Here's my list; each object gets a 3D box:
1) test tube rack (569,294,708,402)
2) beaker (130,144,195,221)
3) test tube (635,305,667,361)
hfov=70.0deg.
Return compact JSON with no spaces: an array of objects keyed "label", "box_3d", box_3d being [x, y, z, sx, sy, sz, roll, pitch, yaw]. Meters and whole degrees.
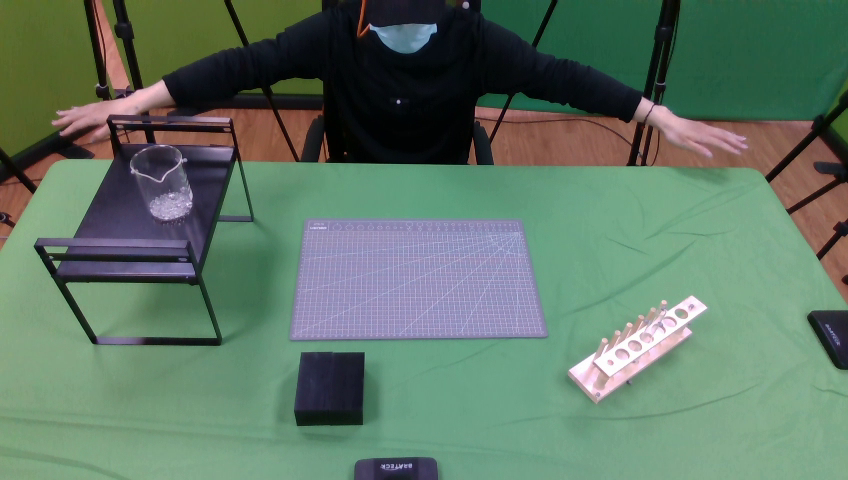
[{"label":"test tube rack","box_3d":[0.360,0.167,1.014,0.242,0.085,0.066,-25,53,-25]},{"label":"beaker","box_3d":[-0.403,-0.085,0.944,0.074,0.101,0.083,-15,49,-17]},{"label":"test tube","box_3d":[0.356,0.151,0.961,0.017,0.151,0.017,0,51,0]}]
